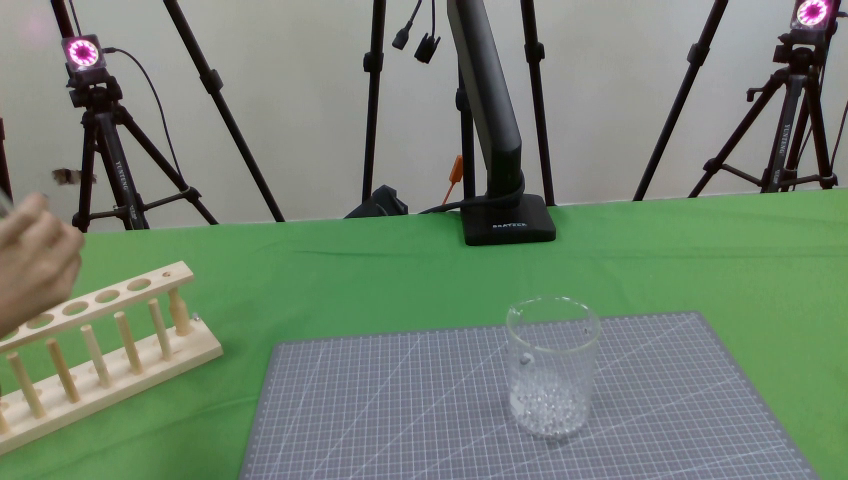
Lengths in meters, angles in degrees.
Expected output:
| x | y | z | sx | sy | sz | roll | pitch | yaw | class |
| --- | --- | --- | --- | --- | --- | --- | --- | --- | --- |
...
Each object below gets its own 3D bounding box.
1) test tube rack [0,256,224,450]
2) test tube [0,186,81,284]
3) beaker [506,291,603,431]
| x | y | z | sx | sy | sz | roll | pitch | yaw | class |
| --- | --- | --- | --- | --- | --- | --- | --- | --- | --- |
| -0.324 | 0.106 | 0.565 | 0.243 | 0.086 | 0.066 | -23 | 36 | -30 | test tube rack |
| -0.306 | -0.016 | 0.454 | 0.017 | 0.152 | 0.017 | -5 | 50 | 6 | test tube |
| 0.104 | 0.103 | 0.510 | 0.074 | 0.101 | 0.083 | -27 | 37 | -34 | beaker |
